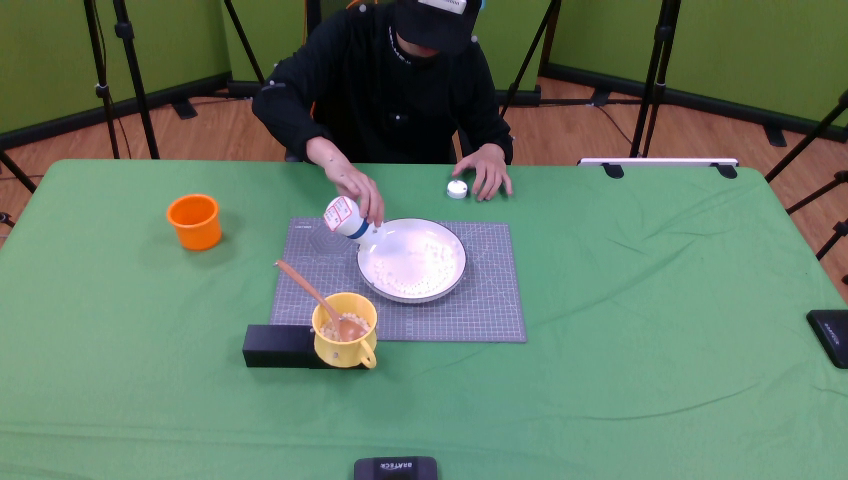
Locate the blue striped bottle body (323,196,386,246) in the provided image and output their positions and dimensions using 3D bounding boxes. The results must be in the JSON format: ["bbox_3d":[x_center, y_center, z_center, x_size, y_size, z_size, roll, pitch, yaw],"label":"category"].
[{"bbox_3d":[-0.120,-0.029,1.098,0.063,0.121,0.063,-15,61,30],"label":"blue striped bottle body"}]

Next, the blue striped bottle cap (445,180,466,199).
[{"bbox_3d":[0.069,-0.109,1.313,0.044,0.021,0.044,4,43,-3],"label":"blue striped bottle cap"}]

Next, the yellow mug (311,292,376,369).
[{"bbox_3d":[-0.115,0.150,0.945,0.100,0.064,0.130,-29,57,-28],"label":"yellow mug"}]

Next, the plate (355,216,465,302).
[{"bbox_3d":[-0.027,0.039,1.144,0.208,0.039,0.206,2,46,-2],"label":"plate"}]

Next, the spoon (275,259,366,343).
[{"bbox_3d":[-0.161,0.098,0.946,0.194,0.021,0.041,48,56,-5],"label":"spoon"}]
